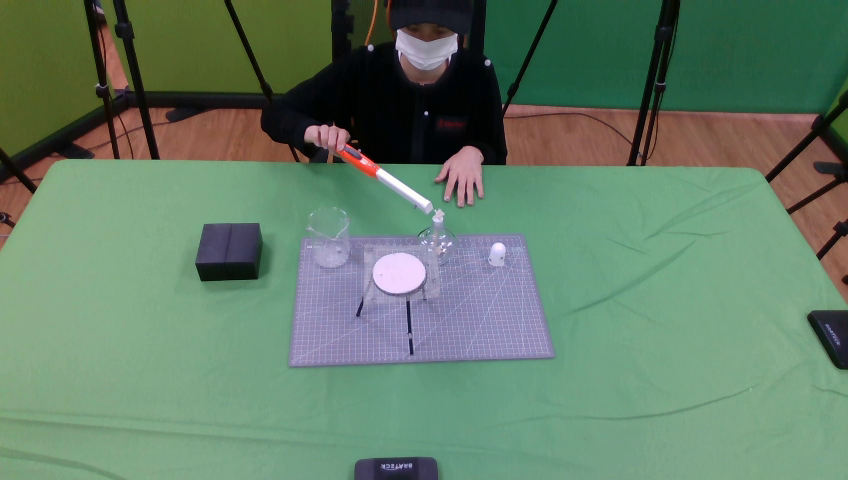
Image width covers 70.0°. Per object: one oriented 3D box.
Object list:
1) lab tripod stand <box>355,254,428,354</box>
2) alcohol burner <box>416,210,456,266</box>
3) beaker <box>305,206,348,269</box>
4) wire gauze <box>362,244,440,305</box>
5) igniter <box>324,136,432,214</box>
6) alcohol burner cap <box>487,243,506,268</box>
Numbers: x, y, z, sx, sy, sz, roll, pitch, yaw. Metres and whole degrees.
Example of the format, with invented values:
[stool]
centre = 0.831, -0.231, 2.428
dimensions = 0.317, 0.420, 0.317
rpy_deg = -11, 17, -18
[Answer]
[lab tripod stand]
centre = -0.046, 0.100, 1.017
dimensions = 0.148, 0.132, 0.147
rpy_deg = 1, 47, -1
[alcohol burner]
centre = 0.023, -0.009, 1.141
dimensions = 0.078, 0.120, 0.077
rpy_deg = 2, 44, -2
[beaker]
centre = -0.177, 0.001, 1.126
dimensions = 0.074, 0.101, 0.083
rpy_deg = -13, 49, -16
[wire gauze]
centre = -0.038, 0.051, 0.971
dimensions = 0.121, 0.011, 0.124
rpy_deg = -1, 46, -4
[igniter]
centre = -0.094, -0.129, 1.158
dimensions = 0.275, 0.057, 0.025
rpy_deg = 35, 75, 24
[alcohol burner cap]
centre = 0.141, 0.027, 1.166
dimensions = 0.034, 0.048, 0.033
rpy_deg = 2, 45, -2
